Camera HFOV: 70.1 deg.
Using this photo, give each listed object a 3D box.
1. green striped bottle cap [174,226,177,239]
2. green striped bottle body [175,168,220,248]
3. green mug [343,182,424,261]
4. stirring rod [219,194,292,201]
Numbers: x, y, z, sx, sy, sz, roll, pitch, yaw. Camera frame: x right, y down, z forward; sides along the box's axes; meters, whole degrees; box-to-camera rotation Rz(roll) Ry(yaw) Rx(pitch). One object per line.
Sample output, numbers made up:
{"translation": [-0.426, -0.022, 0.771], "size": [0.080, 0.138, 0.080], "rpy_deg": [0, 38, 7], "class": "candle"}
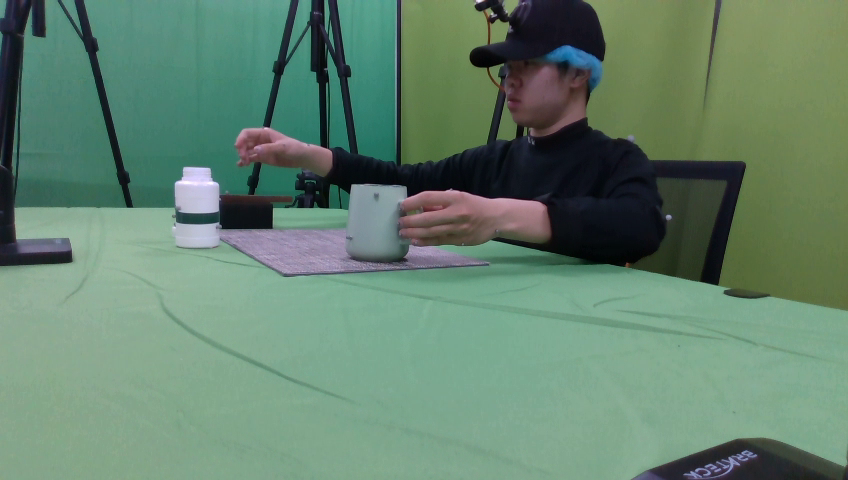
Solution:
{"translation": [-0.404, -0.015, 1.036], "size": [0.044, 0.020, 0.044], "rpy_deg": [-1, 9, 0], "class": "green striped bottle cap"}
{"translation": [-0.345, -0.050, 0.924], "size": [0.063, 0.119, 0.063], "rpy_deg": [2, 7, 0], "class": "green striped bottle body"}
{"translation": [-0.053, -0.026, 0.849], "size": [0.125, 0.105, 0.093], "rpy_deg": [7, 9, 33], "class": "green mug"}
{"translation": [-0.353, -0.086, 1.216], "size": [0.177, 0.014, 0.006], "rpy_deg": [-1, 12, -26], "class": "stirring rod"}
